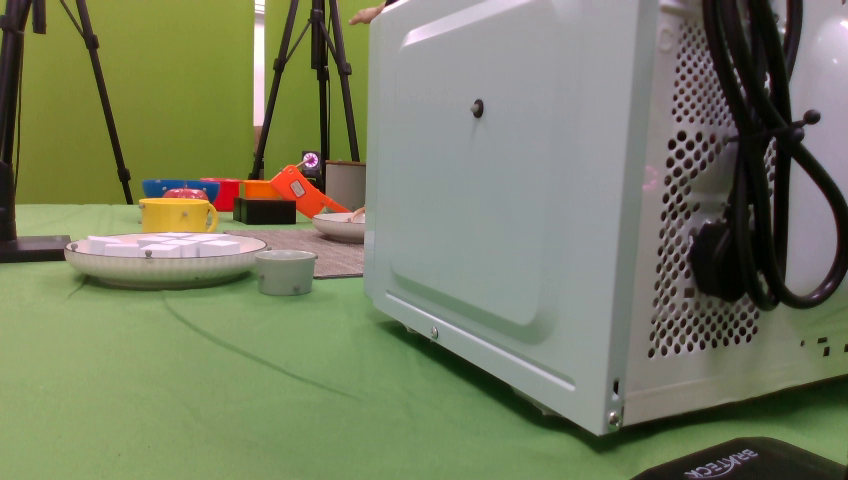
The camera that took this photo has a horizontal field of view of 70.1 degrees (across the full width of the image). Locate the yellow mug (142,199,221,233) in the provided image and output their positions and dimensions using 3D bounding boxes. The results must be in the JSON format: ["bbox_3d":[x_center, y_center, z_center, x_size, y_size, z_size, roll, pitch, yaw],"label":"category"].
[{"bbox_3d":[-0.373,-0.030,0.948,0.099,0.064,0.131,6,8,30],"label":"yellow mug"}]

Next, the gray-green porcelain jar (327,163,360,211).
[{"bbox_3d":[-0.186,-0.125,1.490,0.106,0.126,0.106,2,7,0],"label":"gray-green porcelain jar"}]

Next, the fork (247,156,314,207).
[{"bbox_3d":[-0.360,-0.147,1.523,0.207,0.018,0.028,-43,13,-6],"label":"fork"}]

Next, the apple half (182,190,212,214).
[{"bbox_3d":[-0.402,-0.054,1.090,0.033,0.081,0.081,0,7,12],"label":"apple half"}]

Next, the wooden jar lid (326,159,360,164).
[{"bbox_3d":[-0.185,-0.187,1.481,0.108,0.020,0.108,4,6,0],"label":"wooden jar lid"}]

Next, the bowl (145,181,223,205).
[{"bbox_3d":[-0.499,-0.081,1.261,0.151,0.077,0.151,2,8,0],"label":"bowl"}]

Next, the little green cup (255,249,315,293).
[{"bbox_3d":[-0.144,0.031,0.627,0.061,0.038,0.061,2,6,0],"label":"little green cup"}]

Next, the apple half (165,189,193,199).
[{"bbox_3d":[-0.441,-0.055,1.097,0.053,0.074,0.081,0,10,12],"label":"apple half"}]

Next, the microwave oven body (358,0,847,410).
[{"bbox_3d":[0.210,-0.051,0.471,0.444,0.260,0.324,-1,7,-28],"label":"microwave oven body"}]

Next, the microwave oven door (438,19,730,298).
[{"bbox_3d":[0.181,-0.076,0.618,0.358,0.243,0.039,-2,8,-28],"label":"microwave oven door"}]

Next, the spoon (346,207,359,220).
[{"bbox_3d":[-0.126,-0.047,1.117,0.041,0.021,0.194,-4,18,15],"label":"spoon"}]

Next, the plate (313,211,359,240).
[{"bbox_3d":[-0.091,-0.026,1.063,0.209,0.038,0.209,2,7,0],"label":"plate"}]

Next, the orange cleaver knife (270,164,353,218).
[{"bbox_3d":[-0.239,-0.088,1.329,0.212,0.077,0.012,36,-9,-33],"label":"orange cleaver knife"}]

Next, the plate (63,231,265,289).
[{"bbox_3d":[-0.288,0.021,0.687,0.208,0.039,0.207,2,8,0],"label":"plate"}]

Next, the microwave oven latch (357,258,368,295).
[{"bbox_3d":[-0.019,0.031,0.529,0.079,0.029,0.030,-1,7,-26],"label":"microwave oven latch"}]
